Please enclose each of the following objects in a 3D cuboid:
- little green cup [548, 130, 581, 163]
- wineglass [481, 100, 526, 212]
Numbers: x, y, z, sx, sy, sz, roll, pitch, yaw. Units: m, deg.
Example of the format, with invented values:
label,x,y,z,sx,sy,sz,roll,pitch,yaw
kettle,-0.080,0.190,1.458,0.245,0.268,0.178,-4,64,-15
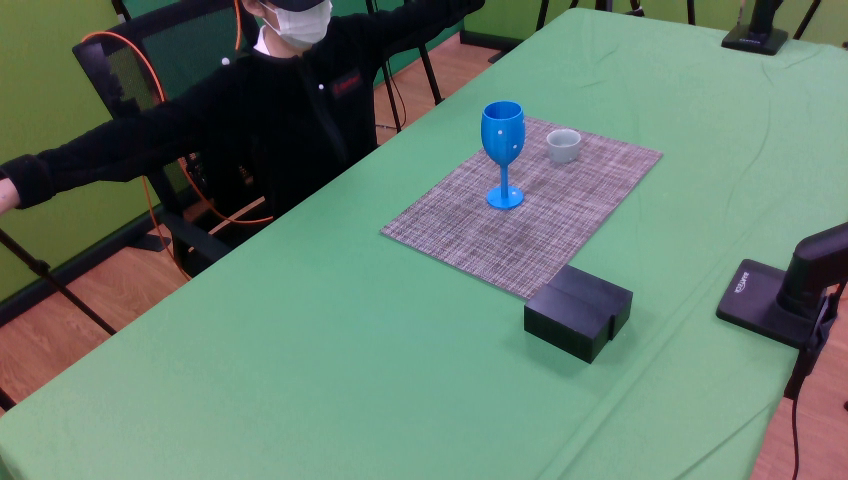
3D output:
label,x,y,z,sx,sy,sz,roll,pitch,yaw
little green cup,0.259,-0.173,1.120,0.061,0.039,0.061,-4,40,4
wineglass,0.132,-0.137,0.993,0.074,0.173,0.073,-5,40,4
